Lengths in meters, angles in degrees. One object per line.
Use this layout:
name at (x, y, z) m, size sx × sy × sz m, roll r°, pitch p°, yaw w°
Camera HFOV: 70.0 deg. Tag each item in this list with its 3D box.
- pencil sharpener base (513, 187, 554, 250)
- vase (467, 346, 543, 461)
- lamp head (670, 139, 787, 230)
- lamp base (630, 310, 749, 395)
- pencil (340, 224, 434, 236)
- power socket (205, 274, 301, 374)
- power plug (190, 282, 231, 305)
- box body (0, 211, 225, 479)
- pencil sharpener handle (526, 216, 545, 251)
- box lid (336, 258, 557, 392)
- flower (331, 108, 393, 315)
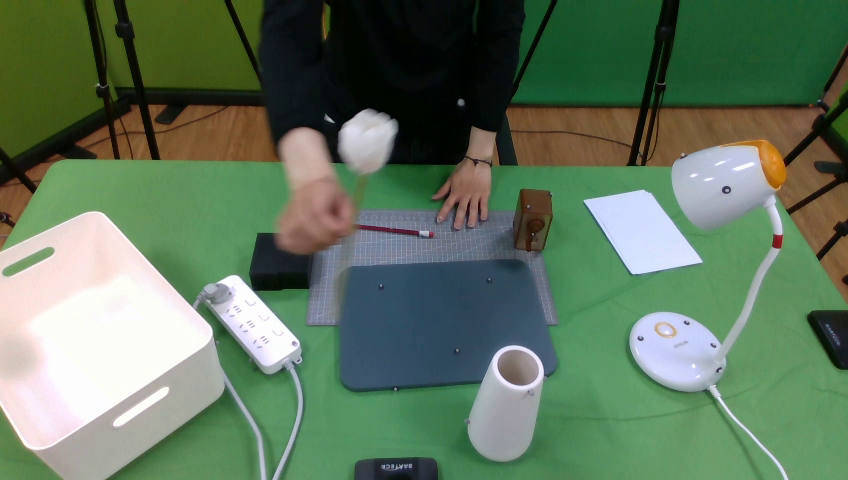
pencil sharpener base at (0.213, -0.039, 1.187) m, size 0.061 × 0.107 × 0.076 m, roll 5°, pitch 47°, yaw 1°
vase at (0.116, 0.234, 0.861) m, size 0.098 × 0.201 × 0.097 m, roll 1°, pitch 47°, yaw -1°
lamp head at (0.415, -0.079, 0.812) m, size 0.113 × 0.123 × 0.112 m, roll 13°, pitch 70°, yaw -37°
lamp base at (0.447, 0.142, 0.984) m, size 0.161 × 0.181 × 0.178 m, roll -24°, pitch 55°, yaw -24°
pencil at (-0.076, -0.021, 1.219) m, size 0.194 × 0.012 × 0.012 m, roll 5°, pitch 46°, yaw 3°
power socket at (-0.296, 0.140, 1.035) m, size 0.072 × 0.033 × 0.225 m, roll -32°, pitch 57°, yaw -29°
power plug at (-0.368, 0.097, 1.039) m, size 0.072 × 0.053 × 0.035 m, roll -26°, pitch 55°, yaw -20°
box body at (-0.504, 0.154, 0.916) m, size 0.362 × 0.161 × 0.254 m, roll 36°, pitch 54°, yaw 27°
pencil sharpener handle at (0.208, -0.011, 1.143) m, size 0.036 × 0.068 × 0.030 m, roll 9°, pitch 47°, yaw -4°
box lid at (0.030, 0.140, 1.073) m, size 0.372 × 0.015 × 0.261 m, roll -3°, pitch 47°, yaw -7°
flower at (-0.083, -0.002, 0.657) m, size 0.044 × 0.363 × 0.038 m, roll -13°, pitch 60°, yaw -22°
